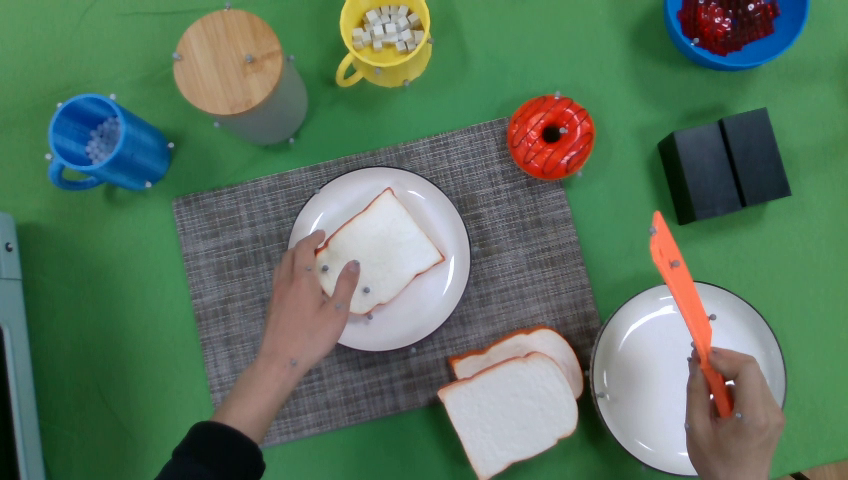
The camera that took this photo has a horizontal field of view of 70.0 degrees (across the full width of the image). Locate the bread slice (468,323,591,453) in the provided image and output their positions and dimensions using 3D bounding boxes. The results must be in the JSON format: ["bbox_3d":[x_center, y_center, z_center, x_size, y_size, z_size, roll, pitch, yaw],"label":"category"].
[{"bbox_3d":[0.119,0.143,0.626,0.135,0.018,0.106,-16,76,-39],"label":"bread slice"}]

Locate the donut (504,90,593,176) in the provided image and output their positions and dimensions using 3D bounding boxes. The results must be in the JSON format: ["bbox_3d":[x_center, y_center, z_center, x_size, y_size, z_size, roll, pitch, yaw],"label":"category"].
[{"bbox_3d":[0.140,-0.121,0.685,0.099,0.048,0.099,0,86,2],"label":"donut"}]

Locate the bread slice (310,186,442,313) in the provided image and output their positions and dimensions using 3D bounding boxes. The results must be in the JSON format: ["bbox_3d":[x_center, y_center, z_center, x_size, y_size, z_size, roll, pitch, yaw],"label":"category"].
[{"bbox_3d":[-0.058,0.019,0.676,0.131,0.019,0.105,-40,98,-8],"label":"bread slice"}]

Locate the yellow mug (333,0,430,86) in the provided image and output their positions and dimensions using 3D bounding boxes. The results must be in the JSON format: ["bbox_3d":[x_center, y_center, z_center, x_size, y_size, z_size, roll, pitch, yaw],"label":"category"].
[{"bbox_3d":[-0.055,-0.226,0.694,0.100,0.064,0.131,45,88,5],"label":"yellow mug"}]

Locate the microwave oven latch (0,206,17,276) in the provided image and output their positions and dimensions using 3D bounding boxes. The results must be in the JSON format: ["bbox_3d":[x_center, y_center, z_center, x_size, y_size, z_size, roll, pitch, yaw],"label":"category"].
[{"bbox_3d":[-0.484,0.001,0.684,0.030,0.029,0.079,-9,85,0],"label":"microwave oven latch"}]

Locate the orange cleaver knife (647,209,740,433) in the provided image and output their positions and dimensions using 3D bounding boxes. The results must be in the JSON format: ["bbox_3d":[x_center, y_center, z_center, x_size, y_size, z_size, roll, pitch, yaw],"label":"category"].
[{"bbox_3d":[0.244,0.073,0.547,0.012,0.077,0.212,-20,102,34],"label":"orange cleaver knife"}]

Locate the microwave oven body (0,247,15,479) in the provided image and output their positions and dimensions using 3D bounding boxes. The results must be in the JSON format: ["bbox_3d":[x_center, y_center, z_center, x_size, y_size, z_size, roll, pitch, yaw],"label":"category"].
[{"bbox_3d":[-0.601,0.191,0.574,0.326,0.260,0.440,-11,85,0],"label":"microwave oven body"}]

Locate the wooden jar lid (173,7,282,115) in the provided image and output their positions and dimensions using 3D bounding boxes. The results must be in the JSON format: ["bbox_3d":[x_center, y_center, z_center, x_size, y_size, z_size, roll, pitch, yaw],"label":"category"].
[{"bbox_3d":[-0.193,-0.175,0.601,0.108,0.021,0.108,0,83,3],"label":"wooden jar lid"}]

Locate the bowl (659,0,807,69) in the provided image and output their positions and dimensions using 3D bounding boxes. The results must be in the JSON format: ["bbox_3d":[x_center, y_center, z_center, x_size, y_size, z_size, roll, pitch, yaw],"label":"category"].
[{"bbox_3d":[0.330,-0.254,0.677,0.151,0.077,0.151,0,85,2],"label":"bowl"}]

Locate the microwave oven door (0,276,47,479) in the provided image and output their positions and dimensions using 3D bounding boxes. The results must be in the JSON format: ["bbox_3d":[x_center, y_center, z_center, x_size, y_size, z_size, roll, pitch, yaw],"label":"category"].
[{"bbox_3d":[-0.450,0.206,0.562,0.039,0.244,0.355,-11,84,1],"label":"microwave oven door"}]

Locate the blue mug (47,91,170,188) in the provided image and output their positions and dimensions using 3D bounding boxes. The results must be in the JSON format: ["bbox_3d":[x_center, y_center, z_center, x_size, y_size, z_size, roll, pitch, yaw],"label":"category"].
[{"bbox_3d":[-0.358,-0.098,0.672,0.116,0.106,0.082,-39,84,-2],"label":"blue mug"}]

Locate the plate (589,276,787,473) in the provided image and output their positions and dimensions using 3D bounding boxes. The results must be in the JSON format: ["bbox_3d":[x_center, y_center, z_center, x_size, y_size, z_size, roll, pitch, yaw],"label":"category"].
[{"bbox_3d":[0.283,0.144,0.664,0.209,0.038,0.208,0,85,3],"label":"plate"}]

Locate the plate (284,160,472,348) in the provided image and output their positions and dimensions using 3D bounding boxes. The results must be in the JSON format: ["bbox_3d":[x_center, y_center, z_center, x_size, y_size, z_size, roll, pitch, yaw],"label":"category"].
[{"bbox_3d":[-0.050,0.016,0.683,0.207,0.039,0.207,0,85,2],"label":"plate"}]

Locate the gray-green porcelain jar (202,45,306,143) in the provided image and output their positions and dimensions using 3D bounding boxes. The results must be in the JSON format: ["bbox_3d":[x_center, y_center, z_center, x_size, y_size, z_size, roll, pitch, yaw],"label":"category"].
[{"bbox_3d":[-0.190,-0.168,0.663,0.106,0.127,0.105,0,84,2],"label":"gray-green porcelain jar"}]
